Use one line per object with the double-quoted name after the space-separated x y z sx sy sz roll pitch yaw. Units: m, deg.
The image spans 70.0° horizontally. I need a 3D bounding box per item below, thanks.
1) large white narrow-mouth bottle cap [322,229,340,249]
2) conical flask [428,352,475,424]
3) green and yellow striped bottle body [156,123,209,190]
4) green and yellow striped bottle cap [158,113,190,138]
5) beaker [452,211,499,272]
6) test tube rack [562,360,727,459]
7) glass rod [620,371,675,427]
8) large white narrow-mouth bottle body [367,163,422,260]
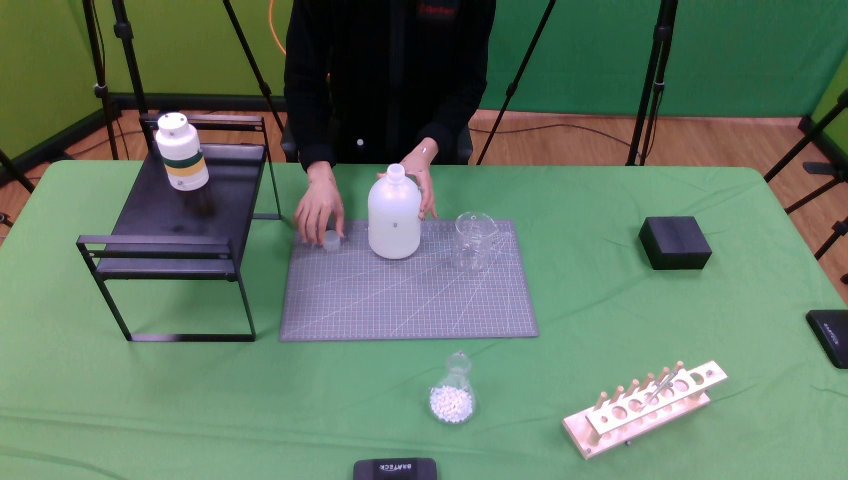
-0.182 -0.003 1.184 0.038 0.024 0.037 3 45 -3 "large white narrow-mouth bottle cap"
0.046 0.220 0.920 0.075 0.122 0.075 2 46 -2 "conical flask"
-0.395 -0.145 0.989 0.063 0.120 0.063 2 46 -2 "green and yellow striped bottle body"
-0.393 -0.180 0.951 0.045 0.020 0.045 2 44 -2 "green and yellow striped bottle cap"
0.093 0.006 1.141 0.084 0.101 0.073 8 46 3 "beaker"
0.341 0.247 0.940 0.243 0.085 0.066 -16 49 -18 "test tube rack"
0.316 0.230 0.863 0.008 0.200 0.008 3 54 -3 "glass rod"
-0.055 -0.059 1.129 0.102 0.195 0.101 3 45 -3 "large white narrow-mouth bottle body"
